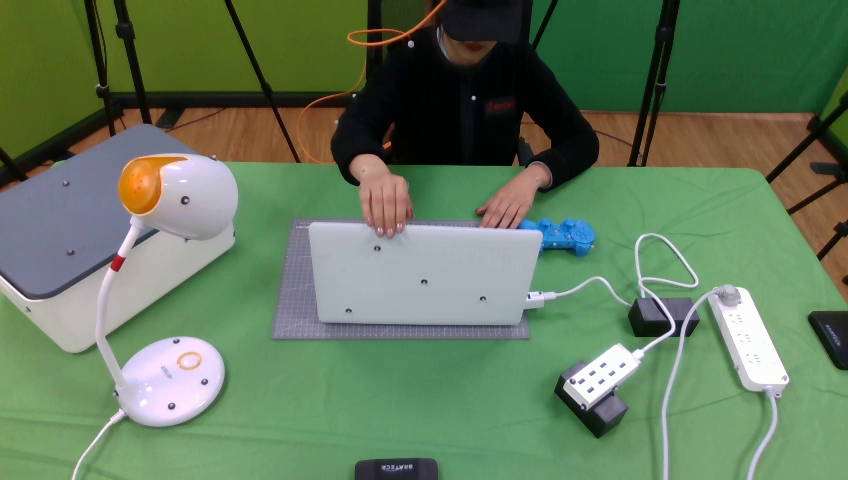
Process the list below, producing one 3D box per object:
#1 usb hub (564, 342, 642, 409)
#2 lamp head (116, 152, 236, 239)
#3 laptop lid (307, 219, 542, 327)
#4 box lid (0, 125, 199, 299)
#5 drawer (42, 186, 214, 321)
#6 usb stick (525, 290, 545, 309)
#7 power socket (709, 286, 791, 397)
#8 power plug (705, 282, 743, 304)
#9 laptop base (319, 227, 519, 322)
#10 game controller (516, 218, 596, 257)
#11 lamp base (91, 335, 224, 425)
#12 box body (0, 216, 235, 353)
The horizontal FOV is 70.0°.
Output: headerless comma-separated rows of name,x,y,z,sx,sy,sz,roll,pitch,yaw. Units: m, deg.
usb hub,0.278,0.208,0.942,0.125,0.025,0.049,-27,52,-28
lamp head,-0.315,-0.057,0.748,0.112,0.112,0.123,26,10,20
laptop lid,-0.002,0.060,0.971,0.357,0.243,0.013,2,42,-4
box lid,-0.540,-0.068,1.016,0.262,0.015,0.371,30,51,23
drawer,-0.529,0.018,1.097,0.194,0.073,0.211,29,53,20
usb stick,0.186,0.108,1.086,0.059,0.027,0.021,-8,47,1
power socket,0.568,0.167,1.064,0.072,0.033,0.225,2,46,-1
power plug,0.539,0.097,1.098,0.072,0.053,0.035,8,47,8
laptop base,-0.009,0.063,1.138,0.354,0.023,0.234,1,42,-3
game controller,0.267,-0.015,1.212,0.155,0.052,0.096,0,50,-3
lamp base,-0.401,0.171,0.892,0.160,0.181,0.179,30,53,23
box body,-0.550,-0.007,1.068,0.253,0.161,0.363,30,51,23
